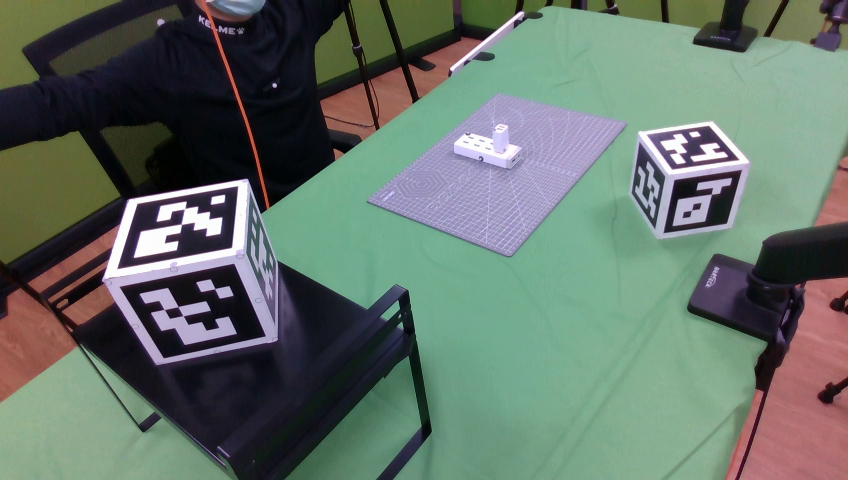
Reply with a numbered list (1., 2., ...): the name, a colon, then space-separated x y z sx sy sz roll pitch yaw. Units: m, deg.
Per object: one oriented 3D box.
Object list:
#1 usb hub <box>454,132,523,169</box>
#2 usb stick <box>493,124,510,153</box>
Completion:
1. usb hub: 0.122 -0.170 1.144 0.124 0.025 0.049 22 48 29
2. usb stick: 0.142 -0.180 1.107 0.021 0.059 0.027 18 46 29
